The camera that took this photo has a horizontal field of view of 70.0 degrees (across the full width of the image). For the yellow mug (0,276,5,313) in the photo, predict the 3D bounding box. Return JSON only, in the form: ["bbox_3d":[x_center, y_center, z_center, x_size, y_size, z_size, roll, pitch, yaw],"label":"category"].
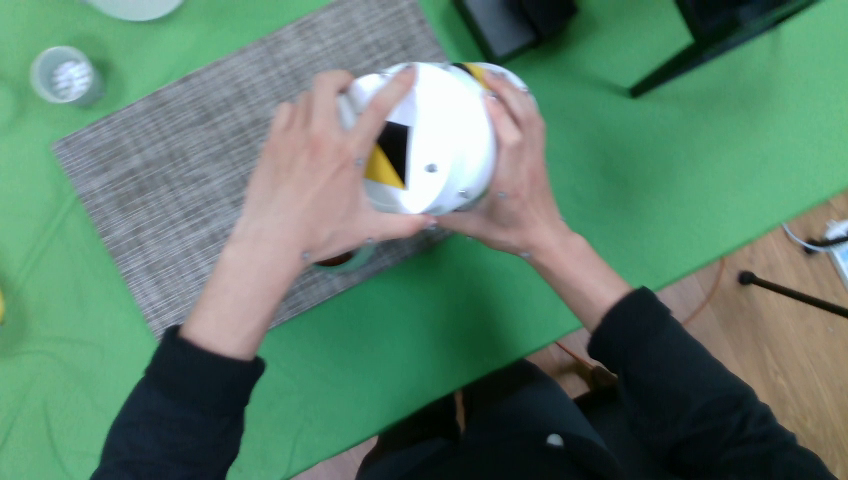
[{"bbox_3d":[-0.529,0.079,0.659,0.100,0.064,0.131,6,91,-4],"label":"yellow mug"}]

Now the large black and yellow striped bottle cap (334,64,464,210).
[{"bbox_3d":[-0.022,-0.080,0.481,0.114,0.019,0.115,10,111,29],"label":"large black and yellow striped bottle cap"}]

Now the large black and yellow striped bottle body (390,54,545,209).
[{"bbox_3d":[0.021,-0.101,0.552,0.130,0.184,0.131,10,110,29],"label":"large black and yellow striped bottle body"}]

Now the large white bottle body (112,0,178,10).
[{"bbox_3d":[-0.315,-0.325,0.603,0.131,0.184,0.130,0,90,-2],"label":"large white bottle body"}]

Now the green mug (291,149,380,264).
[{"bbox_3d":[-0.099,-0.036,0.656,0.092,0.105,0.125,-11,91,-2],"label":"green mug"}]

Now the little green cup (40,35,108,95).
[{"bbox_3d":[-0.387,-0.192,0.675,0.061,0.038,0.061,0,92,-4],"label":"little green cup"}]
